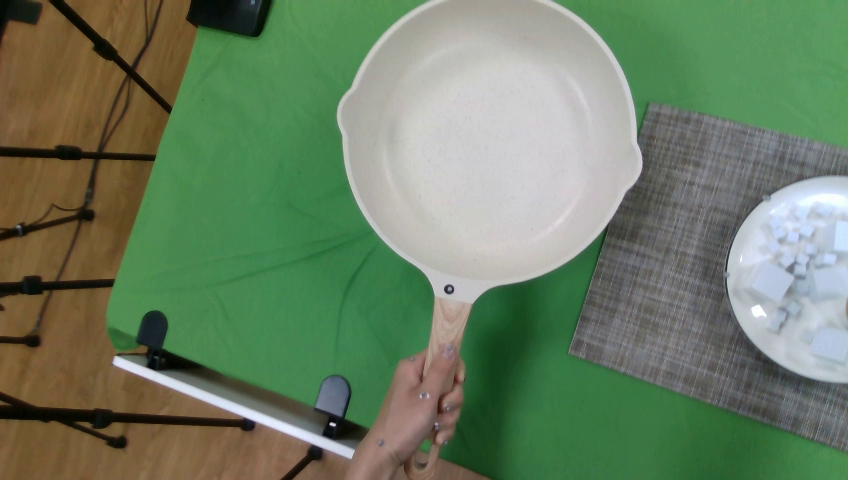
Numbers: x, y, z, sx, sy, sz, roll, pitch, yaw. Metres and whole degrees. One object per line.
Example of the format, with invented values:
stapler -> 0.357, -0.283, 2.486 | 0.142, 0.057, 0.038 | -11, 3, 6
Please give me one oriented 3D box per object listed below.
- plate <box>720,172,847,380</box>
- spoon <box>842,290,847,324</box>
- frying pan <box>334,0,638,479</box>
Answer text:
plate -> 0.412, 0.036, 0.618 | 0.207, 0.039, 0.207 | -2, 84, 14
spoon -> 0.379, 0.069, 0.492 | 0.021, 0.194, 0.042 | 9, 100, 14
frying pan -> 0.039, 0.000, 0.622 | 0.306, 0.103, 0.486 | 13, 85, 4
